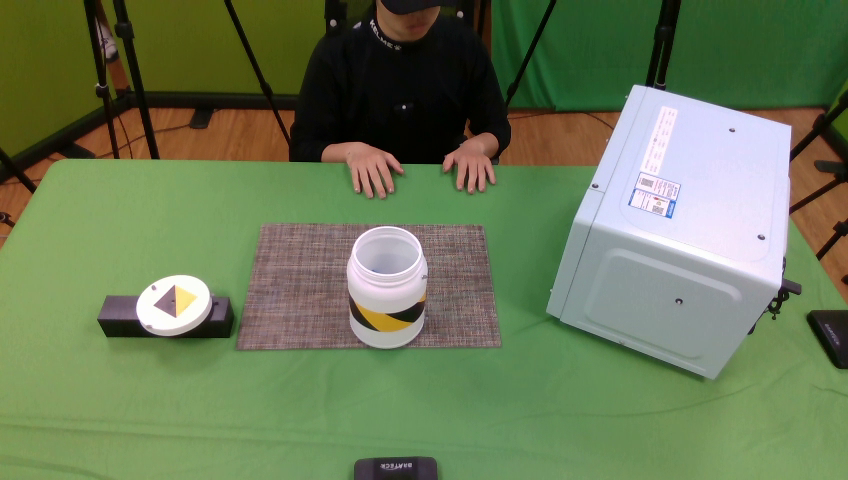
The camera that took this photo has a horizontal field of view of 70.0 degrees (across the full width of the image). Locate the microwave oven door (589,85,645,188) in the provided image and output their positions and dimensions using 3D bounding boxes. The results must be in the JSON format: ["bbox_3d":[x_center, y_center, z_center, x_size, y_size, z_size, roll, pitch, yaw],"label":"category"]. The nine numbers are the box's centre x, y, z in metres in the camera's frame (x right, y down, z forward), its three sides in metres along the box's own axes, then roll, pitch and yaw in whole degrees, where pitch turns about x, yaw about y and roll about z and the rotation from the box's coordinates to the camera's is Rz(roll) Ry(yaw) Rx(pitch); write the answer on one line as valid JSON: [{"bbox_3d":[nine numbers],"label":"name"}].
[{"bbox_3d":[0.342,-0.107,1.149,0.039,0.245,0.354,20,48,15],"label":"microwave oven door"}]

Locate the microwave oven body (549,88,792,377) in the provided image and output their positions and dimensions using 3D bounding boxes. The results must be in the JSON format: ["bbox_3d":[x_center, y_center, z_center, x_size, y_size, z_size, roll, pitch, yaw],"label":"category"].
[{"bbox_3d":[0.456,-0.028,1.088,0.325,0.261,0.440,20,47,16],"label":"microwave oven body"}]

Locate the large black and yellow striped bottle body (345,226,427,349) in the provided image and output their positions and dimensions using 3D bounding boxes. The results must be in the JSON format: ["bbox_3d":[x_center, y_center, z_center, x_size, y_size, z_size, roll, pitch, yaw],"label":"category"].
[{"bbox_3d":[-0.062,0.078,0.998,0.131,0.185,0.130,2,46,-2],"label":"large black and yellow striped bottle body"}]

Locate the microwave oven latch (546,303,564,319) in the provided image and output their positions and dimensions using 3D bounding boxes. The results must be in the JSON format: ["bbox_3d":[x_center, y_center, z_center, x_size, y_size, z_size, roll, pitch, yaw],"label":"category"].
[{"bbox_3d":[0.242,0.102,1.081,0.030,0.029,0.079,21,48,17],"label":"microwave oven latch"}]

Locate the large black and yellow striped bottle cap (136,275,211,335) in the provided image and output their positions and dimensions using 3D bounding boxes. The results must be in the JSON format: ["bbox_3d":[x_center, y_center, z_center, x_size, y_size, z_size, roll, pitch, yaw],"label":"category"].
[{"bbox_3d":[-0.412,0.105,0.999,0.115,0.019,0.114,3,46,-3],"label":"large black and yellow striped bottle cap"}]
